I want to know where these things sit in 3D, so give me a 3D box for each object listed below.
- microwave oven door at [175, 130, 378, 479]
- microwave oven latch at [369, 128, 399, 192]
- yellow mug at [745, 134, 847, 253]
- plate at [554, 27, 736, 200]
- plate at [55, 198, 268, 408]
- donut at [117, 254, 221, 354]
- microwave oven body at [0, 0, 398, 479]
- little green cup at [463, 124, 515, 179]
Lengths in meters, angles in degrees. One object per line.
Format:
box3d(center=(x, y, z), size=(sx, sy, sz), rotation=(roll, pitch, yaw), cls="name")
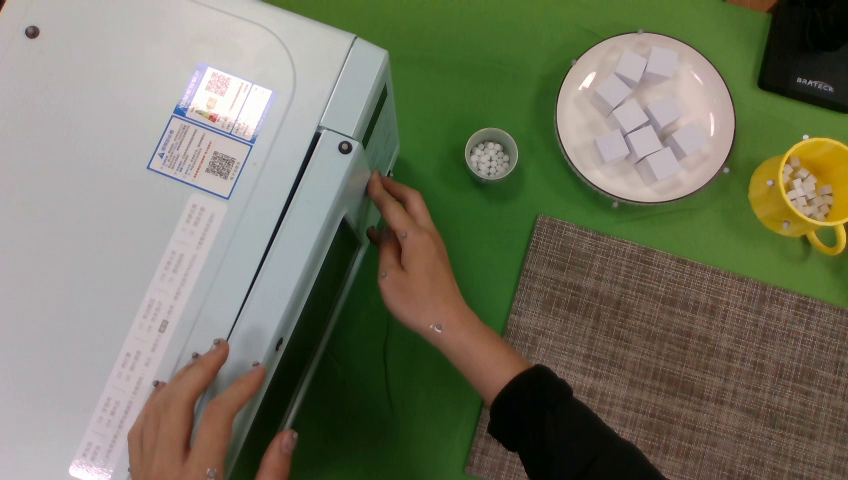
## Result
box3d(center=(-0.131, 0.097, 0.550), size=(0.039, 0.244, 0.355), rotation=(21, 82, 3), cls="microwave oven door")
box3d(center=(-0.054, -0.092, 0.681), size=(0.030, 0.029, 0.079), rotation=(25, 83, 3), cls="microwave oven latch")
box3d(center=(0.435, -0.048, 0.685), size=(0.100, 0.064, 0.130), rotation=(-19, 83, -4), cls="yellow mug")
box3d(center=(0.254, -0.145, 0.711), size=(0.208, 0.039, 0.207), rotation=(0, 82, 0), cls="plate")
box3d(center=(-0.260, 0.063, 0.614), size=(0.209, 0.038, 0.208), rotation=(0, 82, 0), cls="plate")
box3d(center=(-0.250, 0.063, 0.598), size=(0.099, 0.048, 0.099), rotation=(0, 85, -3), cls="donut")
box3d(center=(-0.255, 0.006, 0.568), size=(0.326, 0.261, 0.440), rotation=(21, 83, 2), cls="microwave oven body")
box3d(center=(0.074, -0.100, 0.701), size=(0.061, 0.039, 0.061), rotation=(0, 83, 0), cls="little green cup")
